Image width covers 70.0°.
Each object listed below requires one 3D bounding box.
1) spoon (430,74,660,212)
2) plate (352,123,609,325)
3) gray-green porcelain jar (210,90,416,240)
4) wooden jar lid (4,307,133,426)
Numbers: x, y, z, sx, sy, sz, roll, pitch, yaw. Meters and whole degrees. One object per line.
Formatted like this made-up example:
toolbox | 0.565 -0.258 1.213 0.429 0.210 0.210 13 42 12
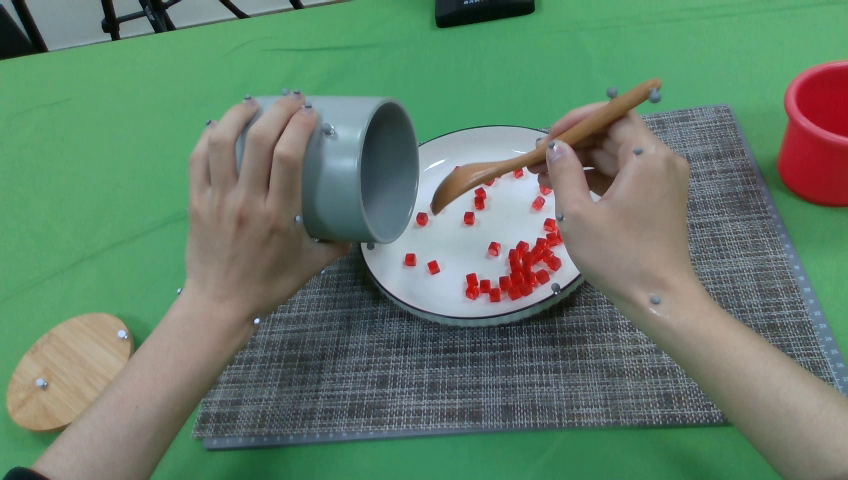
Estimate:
spoon | 0.067 -0.059 0.396 0.193 0.022 0.041 -21 31 44
plate | 0.045 -0.015 0.504 0.207 0.039 0.205 -7 51 9
gray-green porcelain jar | -0.083 -0.057 0.453 0.126 0.107 0.105 6 54 20
wooden jar lid | -0.294 0.106 0.509 0.108 0.021 0.107 -6 52 8
